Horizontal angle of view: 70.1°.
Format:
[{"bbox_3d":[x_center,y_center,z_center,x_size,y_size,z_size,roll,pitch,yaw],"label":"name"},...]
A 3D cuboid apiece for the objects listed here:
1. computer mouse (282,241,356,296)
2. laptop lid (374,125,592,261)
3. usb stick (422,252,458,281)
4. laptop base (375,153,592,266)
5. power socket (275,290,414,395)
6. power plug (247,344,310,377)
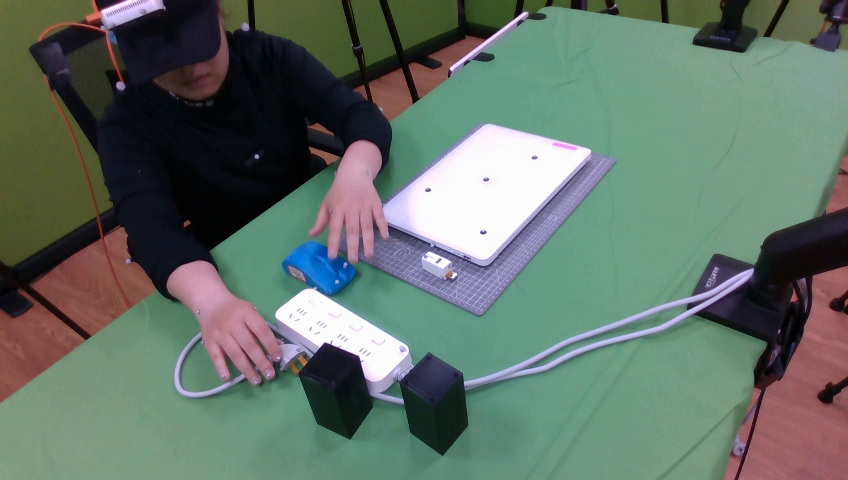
[{"bbox_3d":[-0.164,0.041,0.934,0.116,0.041,0.063,27,48,28],"label":"computer mouse"},{"bbox_3d":[0.109,-0.101,1.057,0.239,0.013,0.358,23,48,34],"label":"laptop lid"},{"bbox_3d":[0.025,0.042,0.908,0.058,0.027,0.021,27,50,31],"label":"usb stick"},{"bbox_3d":[0.112,-0.091,1.063,0.233,0.023,0.355,21,48,34],"label":"laptop base"},{"bbox_3d":[-0.114,0.134,0.820,0.225,0.033,0.072,25,49,33],"label":"power socket"},{"bbox_3d":[-0.187,0.169,0.799,0.072,0.035,0.052,-43,71,0],"label":"power plug"}]
